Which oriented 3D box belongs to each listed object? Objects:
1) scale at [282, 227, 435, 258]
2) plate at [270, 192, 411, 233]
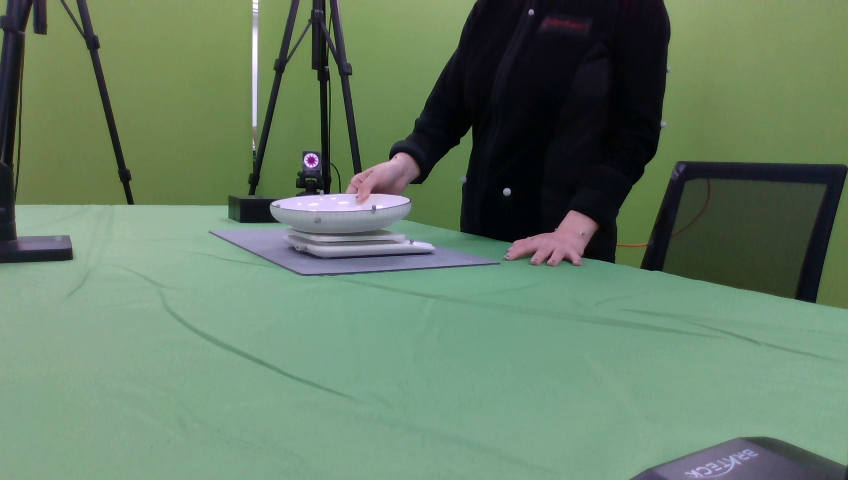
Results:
[{"bbox_3d":[-0.098,0.000,0.914,0.202,0.031,0.148,-2,8,-33],"label":"scale"},{"bbox_3d":[-0.122,-0.041,0.899,0.209,0.038,0.209,-1,11,1],"label":"plate"}]
